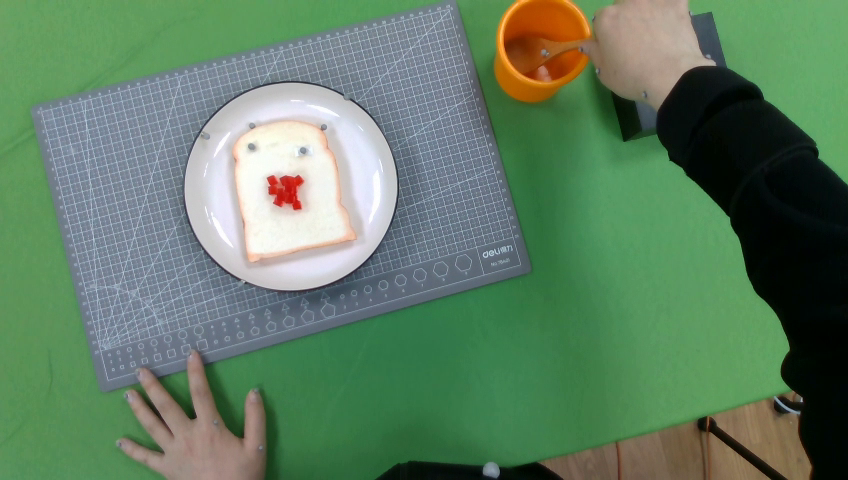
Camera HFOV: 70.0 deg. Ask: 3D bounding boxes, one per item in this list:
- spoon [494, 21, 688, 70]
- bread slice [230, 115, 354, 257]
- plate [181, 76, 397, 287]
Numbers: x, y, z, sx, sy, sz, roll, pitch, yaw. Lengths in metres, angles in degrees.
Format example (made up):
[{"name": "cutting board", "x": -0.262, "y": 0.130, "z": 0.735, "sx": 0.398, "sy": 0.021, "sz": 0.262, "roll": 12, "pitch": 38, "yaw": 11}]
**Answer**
[{"name": "spoon", "x": 0.149, "y": -0.188, "z": 0.573, "sx": 0.022, "sy": 0.192, "sz": 0.041, "roll": 18, "pitch": 83, "yaw": -46}, {"name": "bread slice", "x": -0.139, "y": -0.056, "z": 0.605, "sx": 0.107, "sy": 0.018, "sz": 0.134, "roll": -15, "pitch": 87, "yaw": -4}, {"name": "plate", "x": -0.131, "y": -0.057, "z": 0.604, "sx": 0.209, "sy": 0.038, "sz": 0.208, "roll": 0, "pitch": 87, "yaw": -3}]
